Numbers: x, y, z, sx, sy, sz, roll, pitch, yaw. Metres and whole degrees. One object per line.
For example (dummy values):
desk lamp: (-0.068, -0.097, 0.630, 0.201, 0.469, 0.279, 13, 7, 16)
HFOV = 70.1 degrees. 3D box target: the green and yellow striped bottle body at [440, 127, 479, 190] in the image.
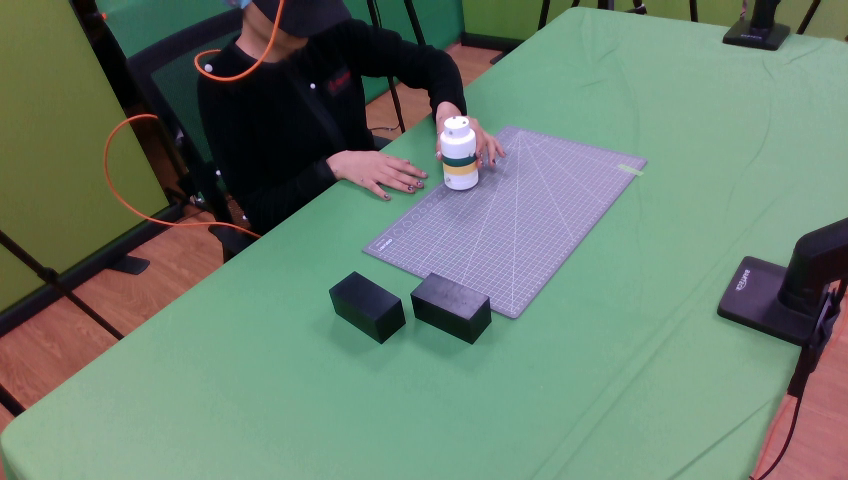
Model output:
green and yellow striped bottle body: (0.062, -0.154, 1.064, 0.063, 0.120, 0.063, -5, 38, 4)

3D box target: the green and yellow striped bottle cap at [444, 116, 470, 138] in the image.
green and yellow striped bottle cap: (0.056, -0.194, 1.032, 0.045, 0.020, 0.045, -4, 37, 3)
